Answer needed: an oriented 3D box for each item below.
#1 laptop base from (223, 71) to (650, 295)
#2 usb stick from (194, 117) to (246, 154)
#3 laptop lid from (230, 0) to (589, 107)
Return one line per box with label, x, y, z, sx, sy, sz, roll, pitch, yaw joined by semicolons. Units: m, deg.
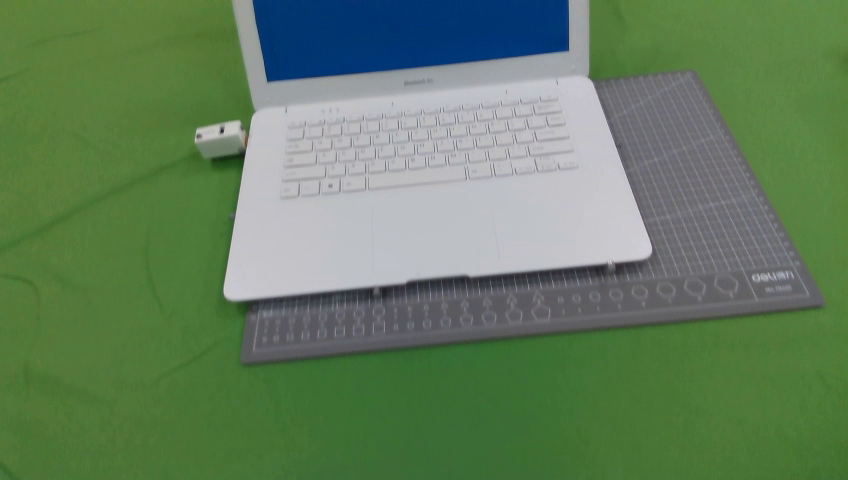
laptop base;0.003;-0.061;0.563;0.354;0.023;0.233;-6;55;1
usb stick;-0.195;-0.105;0.602;0.059;0.027;0.021;-8;51;0
laptop lid;-0.016;-0.259;0.591;0.357;0.243;0.013;-7;22;1
